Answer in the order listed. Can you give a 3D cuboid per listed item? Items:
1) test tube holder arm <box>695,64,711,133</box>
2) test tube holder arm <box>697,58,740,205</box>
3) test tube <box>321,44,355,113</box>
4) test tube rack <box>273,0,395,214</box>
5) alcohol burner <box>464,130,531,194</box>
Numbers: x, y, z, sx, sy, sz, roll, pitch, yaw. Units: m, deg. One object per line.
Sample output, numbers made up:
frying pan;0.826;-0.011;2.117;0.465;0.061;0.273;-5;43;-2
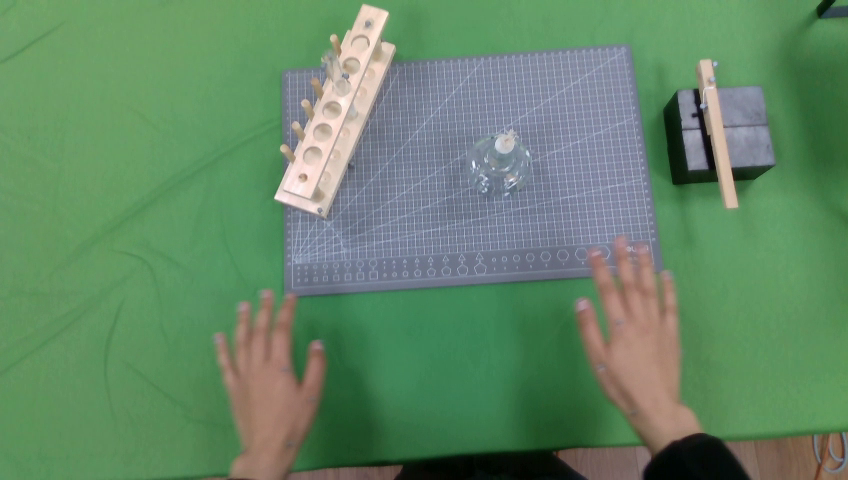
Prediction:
test tube holder arm;0.330;-0.166;0.702;0.015;0.010;0.087;-7;74;12
test tube holder arm;0.331;-0.124;0.684;0.015;0.013;0.177;-7;74;12
test tube;-0.094;-0.176;0.677;0.017;0.151;0.017;0;79;1
test tube rack;-0.112;-0.161;0.726;0.066;0.085;0.241;20;79;7
alcohol burner;0.085;-0.095;0.691;0.078;0.119;0.077;0;76;1
